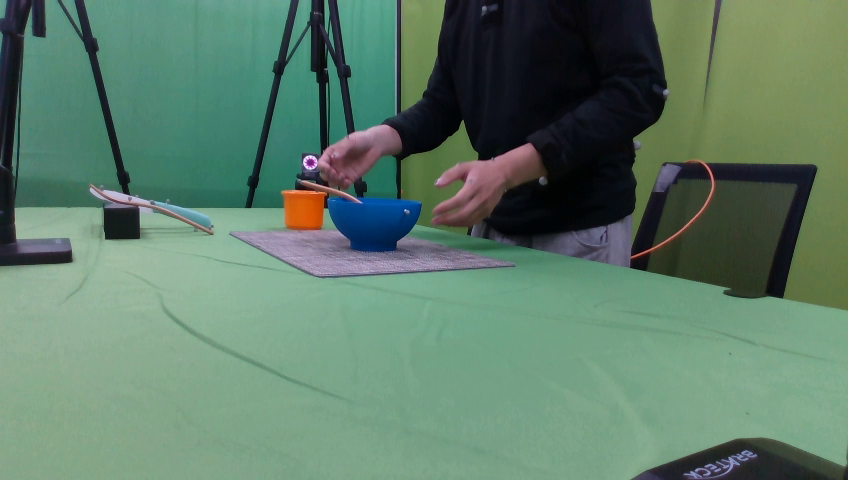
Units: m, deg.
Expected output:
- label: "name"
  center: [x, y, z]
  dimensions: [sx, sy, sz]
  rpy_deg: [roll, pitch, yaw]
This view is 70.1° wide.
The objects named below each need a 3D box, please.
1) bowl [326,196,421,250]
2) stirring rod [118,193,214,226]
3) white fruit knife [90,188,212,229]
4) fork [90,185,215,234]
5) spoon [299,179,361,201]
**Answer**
- label: "bowl"
  center: [-0.080, -0.027, 0.957]
  dimensions: [0.151, 0.077, 0.151]
  rpy_deg: [2, 7, 0]
- label: "stirring rod"
  center: [-0.484, -0.056, 1.142]
  dimensions: [0.177, 0.006, 0.014]
  rpy_deg: [21, -5, -29]
- label: "white fruit knife"
  center: [-0.478, -0.058, 1.073]
  dimensions: [0.208, 0.027, 0.016]
  rpy_deg: [17, -4, -30]
- label: "fork"
  center: [-0.452, -0.049, 1.018]
  dimensions: [0.208, 0.018, 0.028]
  rpy_deg: [21, -7, -33]
- label: "spoon"
  center: [-0.123, -0.068, 0.993]
  dimensions: [0.193, 0.021, 0.042]
  rpy_deg: [25, 8, 17]
